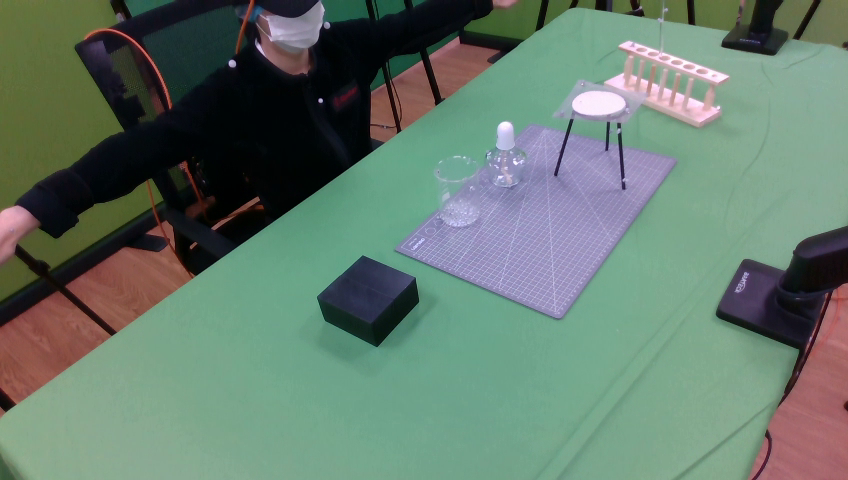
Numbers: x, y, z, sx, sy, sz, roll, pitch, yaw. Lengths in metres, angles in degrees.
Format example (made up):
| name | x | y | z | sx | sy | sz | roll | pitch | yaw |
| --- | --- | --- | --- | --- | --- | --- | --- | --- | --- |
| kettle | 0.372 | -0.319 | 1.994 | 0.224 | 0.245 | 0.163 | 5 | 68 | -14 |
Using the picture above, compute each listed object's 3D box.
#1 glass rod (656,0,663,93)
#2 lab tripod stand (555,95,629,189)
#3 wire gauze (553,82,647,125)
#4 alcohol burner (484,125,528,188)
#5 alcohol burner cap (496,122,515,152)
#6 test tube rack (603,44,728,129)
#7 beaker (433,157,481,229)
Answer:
| name | x | y | z | sx | sy | sz | roll | pitch | yaw |
| --- | --- | --- | --- | --- | --- | --- | --- | --- | --- |
| glass rod | 0.469 | -0.383 | 1.204 | 0.008 | 0.201 | 0.008 | -9 | 39 | 8 |
| lab tripod stand | 0.300 | -0.174 | 1.045 | 0.148 | 0.132 | 0.147 | -5 | 38 | 5 |
| wire gauze | 0.293 | -0.225 | 1.002 | 0.120 | 0.011 | 0.125 | 17 | 45 | 27 |
| alcohol burner | 0.144 | -0.152 | 1.059 | 0.078 | 0.119 | 0.077 | -3 | 41 | 3 |
| alcohol burner cap | 0.139 | -0.179 | 1.037 | 0.034 | 0.048 | 0.033 | -4 | 44 | 5 |
| test tube rack | 0.480 | -0.316 | 1.227 | 0.067 | 0.085 | 0.240 | -28 | 44 | -22 |
| beaker | 0.058 | -0.077 | 0.994 | 0.073 | 0.101 | 0.084 | 19 | 46 | 28 |
